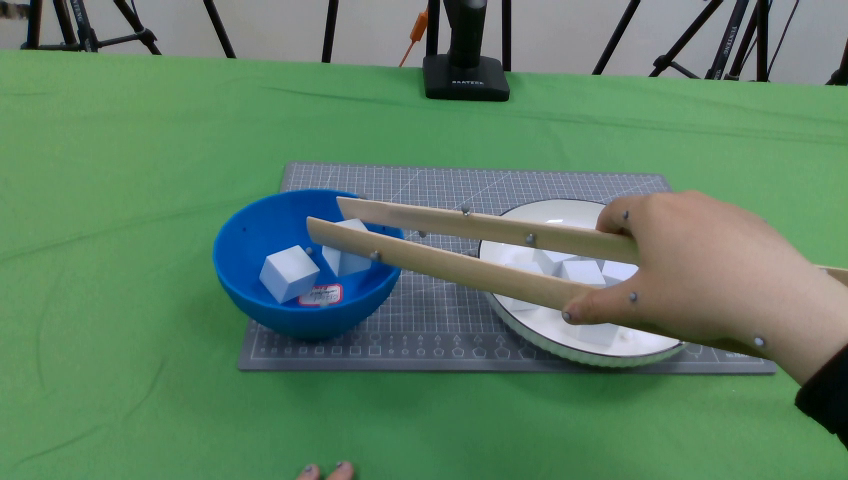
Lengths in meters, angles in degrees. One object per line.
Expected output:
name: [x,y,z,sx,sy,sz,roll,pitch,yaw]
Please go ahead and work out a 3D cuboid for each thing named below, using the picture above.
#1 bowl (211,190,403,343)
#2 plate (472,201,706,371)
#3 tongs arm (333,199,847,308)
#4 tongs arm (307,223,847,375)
bowl: [-0.094,0.032,0.505,0.151,0.077,0.150,3,40,-3]
plate: [0.146,0.040,0.555,0.208,0.039,0.205,3,40,-3]
tongs arm: [0.091,0.013,0.404,0.382,0.027,0.050,8,39,25]
tongs arm: [0.078,0.028,0.387,0.385,0.028,0.028,11,37,28]
